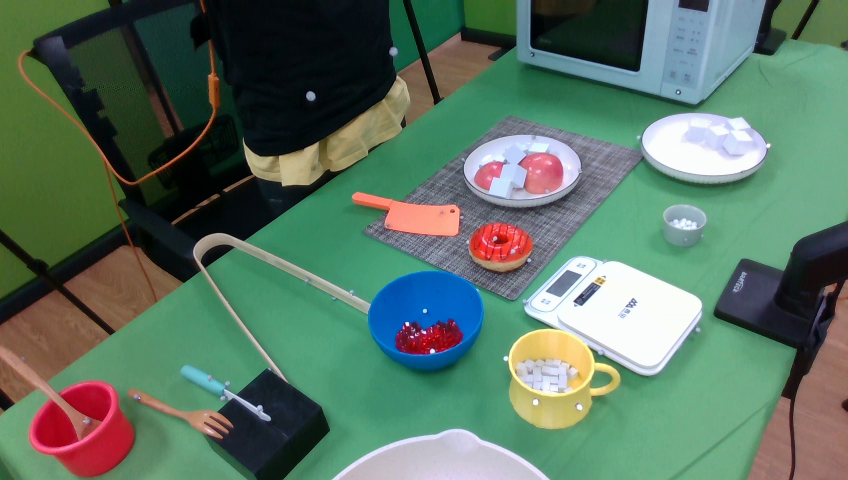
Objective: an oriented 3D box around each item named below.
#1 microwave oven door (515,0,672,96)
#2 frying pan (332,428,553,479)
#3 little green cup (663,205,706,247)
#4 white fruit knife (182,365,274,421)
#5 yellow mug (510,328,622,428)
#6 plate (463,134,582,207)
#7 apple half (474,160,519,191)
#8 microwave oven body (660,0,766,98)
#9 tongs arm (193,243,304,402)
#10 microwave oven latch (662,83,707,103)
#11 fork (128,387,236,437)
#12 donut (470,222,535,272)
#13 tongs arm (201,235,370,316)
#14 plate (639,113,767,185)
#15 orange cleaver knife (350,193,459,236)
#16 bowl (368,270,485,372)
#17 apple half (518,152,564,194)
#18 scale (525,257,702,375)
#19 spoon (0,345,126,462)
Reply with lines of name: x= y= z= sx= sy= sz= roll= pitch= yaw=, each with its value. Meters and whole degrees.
microwave oven door: x=0.343 y=-0.454 z=1.259 sx=0.353 sy=0.245 sz=0.039 roll=26 pitch=51 yaw=33
frying pan: x=-0.089 y=0.306 z=0.564 sx=0.487 sy=0.103 sz=0.306 roll=10 pitch=41 yaw=7
little green cup: x=0.396 y=-0.020 z=0.926 sx=0.061 sy=0.039 sz=0.061 roll=-4 pitch=40 yaw=4
white fruit knife: x=-0.245 y=0.187 z=0.747 sx=0.205 sy=0.027 sz=0.016 roll=9 pitch=42 yaw=40
yellow mug: x=0.168 y=0.164 z=0.722 sx=0.130 sy=0.064 sz=0.099 roll=0 pitch=40 yaw=8
plate: x=0.173 y=-0.119 z=1.070 sx=0.209 sy=0.038 sz=0.208 roll=-4 pitch=40 yaw=4
apple half: x=0.130 y=-0.120 z=1.068 sx=0.081 sy=0.033 sz=0.081 roll=-3 pitch=37 yaw=3
microwave oven body: x=0.472 y=-0.513 z=1.317 sx=0.438 sy=0.261 sz=0.327 roll=26 pitch=51 yaw=34
tongs arm: x=-0.267 y=0.108 z=0.884 sx=0.028 sy=0.028 sz=0.384 roll=-35 pitch=46 yaw=-19
microwave oven latch: x=0.517 y=-0.296 z=1.204 sx=0.078 sy=0.029 sz=0.030 roll=28 pitch=52 yaw=35
fork: x=-0.305 y=0.207 z=0.744 sx=0.206 sy=0.019 sz=0.028 roll=3 pitch=40 yaw=36
donut: x=0.119 y=0.009 z=0.923 sx=0.099 sy=0.048 sz=0.098 roll=-4 pitch=38 yaw=4
tongs arm: x=-0.209 y=0.062 z=0.925 sx=0.381 sy=0.026 sz=0.051 roll=23 pitch=53 yaw=33
plate: x=0.489 y=-0.157 z=1.074 sx=0.207 sy=0.039 sz=0.206 roll=-4 pitch=40 yaw=4
orange cleaver knife: x=-0.037 y=-0.044 z=1.028 sx=0.210 sy=0.012 sz=0.077 roll=10 pitch=49 yaw=17
bowl: x=0.007 y=0.118 z=0.791 sx=0.151 sy=0.077 sz=0.150 roll=-5 pitch=40 yaw=4
apple half: x=0.204 y=-0.124 z=1.048 sx=0.075 sy=0.053 sz=0.080 roll=-6 pitch=41 yaw=-3
scale: x=0.254 y=0.091 z=0.821 sx=0.199 sy=0.032 sz=0.149 roll=28 pitch=51 yaw=35
spoon: x=-0.434 y=0.192 z=0.720 sx=0.194 sy=0.021 sz=0.042 roll=47 pitch=53 yaw=-7
